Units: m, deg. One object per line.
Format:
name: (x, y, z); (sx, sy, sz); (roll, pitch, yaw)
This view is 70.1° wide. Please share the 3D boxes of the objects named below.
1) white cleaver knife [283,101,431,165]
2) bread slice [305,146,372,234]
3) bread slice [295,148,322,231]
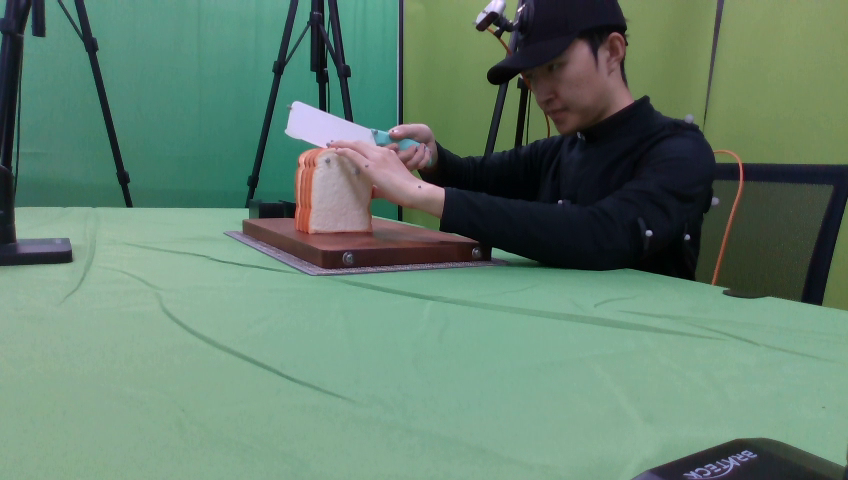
white cleaver knife: (-0.102, -0.160, 0.997); (0.288, 0.066, 0.021); (11, -12, -38)
bread slice: (-0.131, -0.075, 0.925); (0.107, 0.134, 0.018); (-6, 12, -32)
bread slice: (-0.157, -0.081, 0.969); (0.105, 0.131, 0.019); (-2, 2, -34)
